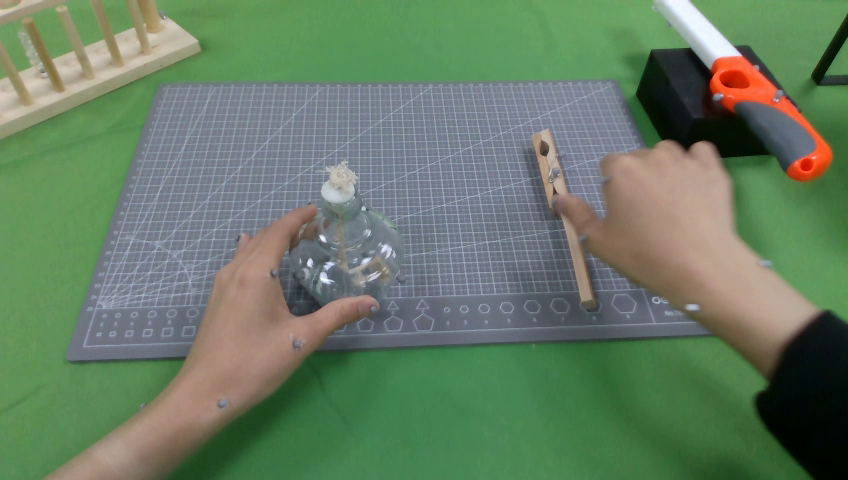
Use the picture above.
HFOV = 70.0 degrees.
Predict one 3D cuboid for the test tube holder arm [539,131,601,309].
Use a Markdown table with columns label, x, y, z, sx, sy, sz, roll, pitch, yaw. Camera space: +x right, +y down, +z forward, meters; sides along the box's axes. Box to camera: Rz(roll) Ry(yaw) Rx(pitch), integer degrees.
| label | x | y | z | sx | sy | sz | roll | pitch | yaw |
| --- | --- | --- | --- | --- | --- | --- | --- | --- | --- |
| test tube holder arm | 0.113 | -0.023 | 0.485 | 0.013 | 0.015 | 0.176 | -26 | 48 | 22 |

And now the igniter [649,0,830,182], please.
| label | x | y | z | sx | sy | sz | roll | pitch | yaw |
| --- | --- | --- | --- | --- | --- | --- | --- | --- | --- |
| igniter | 0.268 | -0.147 | 0.533 | 0.057 | 0.025 | 0.273 | -6 | 49 | -7 |

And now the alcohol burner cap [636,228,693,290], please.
| label | x | y | z | sx | sy | sz | roll | pitch | yaw |
| --- | --- | --- | --- | --- | --- | --- | --- | --- | --- |
| alcohol burner cap | 0.179 | 0.011 | 0.446 | 0.034 | 0.048 | 0.033 | 2 | 49 | -2 |

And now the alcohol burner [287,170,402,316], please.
| label | x | y | z | sx | sy | sz | roll | pitch | yaw |
| --- | --- | --- | --- | --- | --- | --- | --- | --- | --- |
| alcohol burner | -0.053 | -0.003 | 0.398 | 0.078 | 0.120 | 0.077 | 1 | 52 | -1 |

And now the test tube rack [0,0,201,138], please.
| label | x | y | z | sx | sy | sz | roll | pitch | yaw |
| --- | --- | --- | --- | --- | --- | --- | --- | --- | --- |
| test tube rack | -0.336 | -0.175 | 0.546 | 0.242 | 0.086 | 0.066 | -36 | 61 | -28 |

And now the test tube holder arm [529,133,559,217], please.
| label | x | y | z | sx | sy | sz | roll | pitch | yaw |
| --- | --- | --- | --- | --- | --- | --- | --- | --- | --- |
| test tube holder arm | 0.104 | -0.056 | 0.515 | 0.010 | 0.015 | 0.087 | -25 | 49 | 22 |

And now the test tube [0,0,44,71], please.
| label | x | y | z | sx | sy | sz | roll | pitch | yaw |
| --- | --- | --- | --- | --- | --- | --- | --- | --- | --- |
| test tube | -0.353 | -0.211 | 0.511 | 0.017 | 0.151 | 0.017 | 3 | 47 | -3 |
